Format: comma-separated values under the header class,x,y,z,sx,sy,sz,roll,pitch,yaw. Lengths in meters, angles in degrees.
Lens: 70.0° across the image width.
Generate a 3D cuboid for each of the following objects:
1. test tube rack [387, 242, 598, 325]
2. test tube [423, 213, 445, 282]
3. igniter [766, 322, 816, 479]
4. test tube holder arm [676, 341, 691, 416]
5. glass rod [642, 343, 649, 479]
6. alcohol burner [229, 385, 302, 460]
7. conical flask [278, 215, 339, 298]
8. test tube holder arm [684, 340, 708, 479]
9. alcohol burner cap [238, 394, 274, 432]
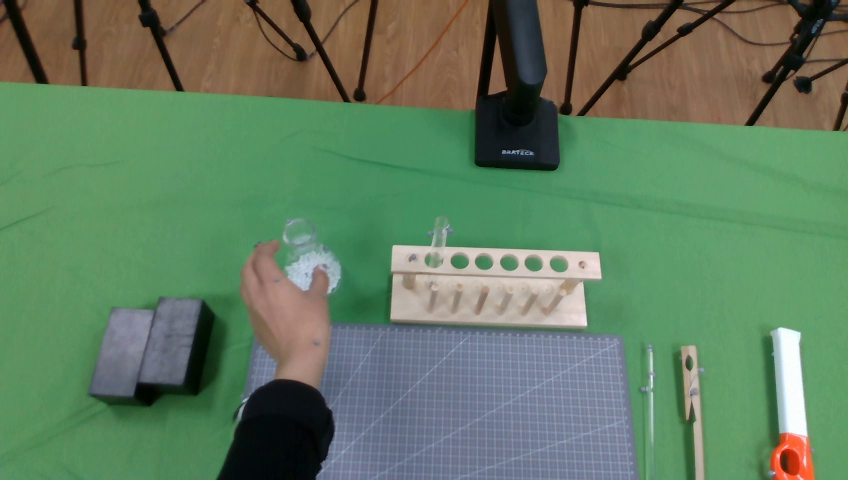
class,x,y,z,sx,sy,sz,roll,pitch,yaw
test tube rack,0.078,0.054,0.729,0.242,0.086,0.066,2,64,-2
test tube,0.010,0.012,0.691,0.017,0.151,0.017,2,62,-3
igniter,0.417,0.227,0.691,0.057,0.025,0.274,15,64,-6
test tube holder arm,0.312,0.165,0.724,0.010,0.015,0.087,-13,59,33
glass rod,0.256,0.215,0.700,0.008,0.008,0.198,9,66,2
alcohol burner,-0.170,0.187,0.634,0.078,0.120,0.077,0,63,0
conical flask,-0.143,0.015,0.717,0.075,0.123,0.074,1,64,-2
test tube holder arm,0.314,0.204,0.701,0.013,0.015,0.177,-15,58,32
alcohol burner cap,-0.168,0.170,0.602,0.034,0.048,0.033,3,60,-5
